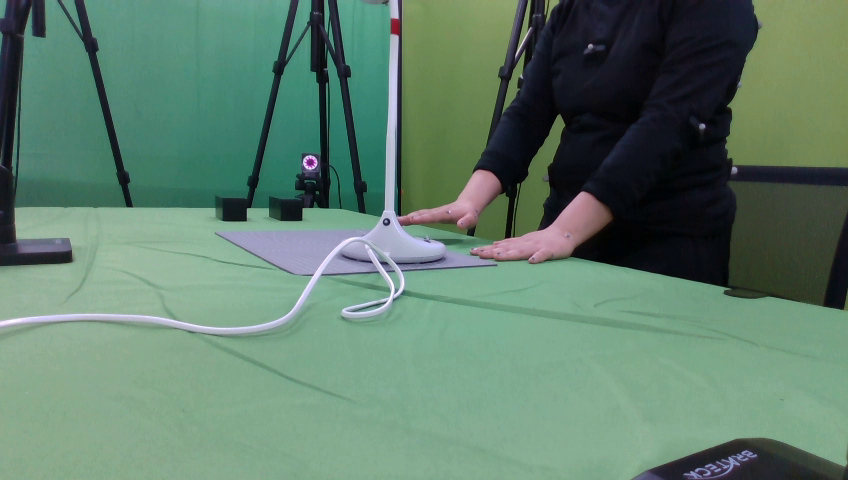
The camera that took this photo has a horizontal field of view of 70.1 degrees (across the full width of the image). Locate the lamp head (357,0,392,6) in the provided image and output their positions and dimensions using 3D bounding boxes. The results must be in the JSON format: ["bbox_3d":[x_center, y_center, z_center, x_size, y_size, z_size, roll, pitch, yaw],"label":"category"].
[{"bbox_3d":[-0.056,-0.383,0.819,0.113,0.112,0.122,0,13,-22],"label":"lamp head"}]

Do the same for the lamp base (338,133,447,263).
[{"bbox_3d":[-0.043,-0.062,0.868,0.161,0.180,0.179,2,10,-3],"label":"lamp base"}]
